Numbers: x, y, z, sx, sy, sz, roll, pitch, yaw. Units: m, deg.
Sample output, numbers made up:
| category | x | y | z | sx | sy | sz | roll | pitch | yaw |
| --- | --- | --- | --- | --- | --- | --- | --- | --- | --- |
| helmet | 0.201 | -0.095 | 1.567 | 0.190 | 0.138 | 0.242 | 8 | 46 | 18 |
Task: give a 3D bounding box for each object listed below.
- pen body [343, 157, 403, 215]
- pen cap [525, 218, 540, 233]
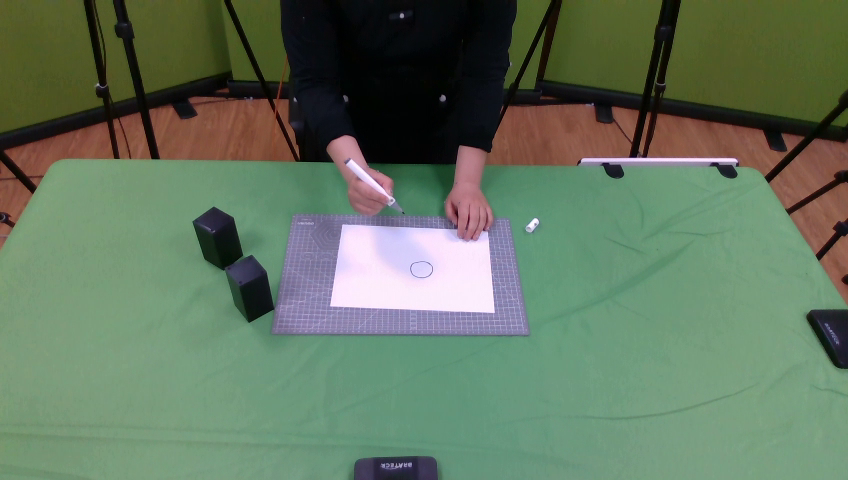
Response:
| category | x | y | z | sx | sy | sz | roll | pitch | yaw |
| --- | --- | --- | --- | --- | --- | --- | --- | --- | --- |
| pen body | -0.089 | -0.095 | 1.098 | 0.144 | 0.017 | 0.017 | 44 | 47 | -14 |
| pen cap | 0.224 | -0.031 | 1.248 | 0.017 | 0.017 | 0.038 | 31 | 53 | 24 |
